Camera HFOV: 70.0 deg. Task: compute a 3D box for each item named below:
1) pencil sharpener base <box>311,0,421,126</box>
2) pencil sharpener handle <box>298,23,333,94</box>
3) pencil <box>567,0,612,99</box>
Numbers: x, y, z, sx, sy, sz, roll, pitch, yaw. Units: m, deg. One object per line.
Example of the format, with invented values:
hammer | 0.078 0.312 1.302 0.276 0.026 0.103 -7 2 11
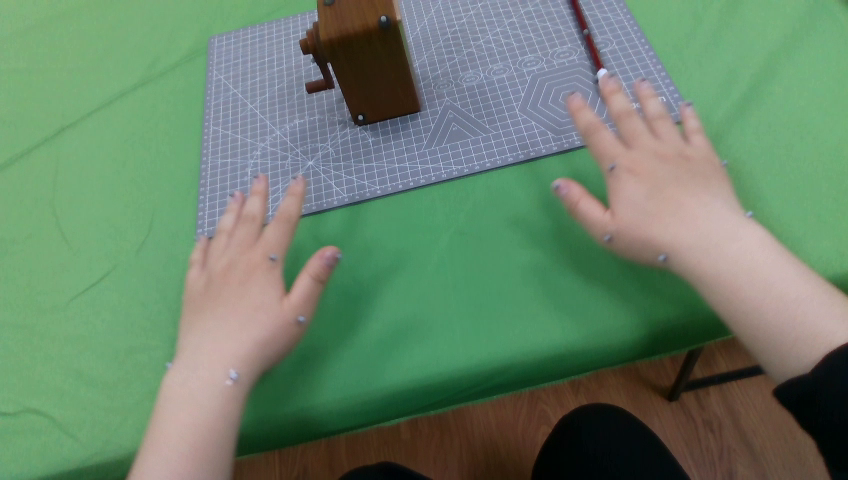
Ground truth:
pencil sharpener base | -0.052 -0.167 0.558 0.076 0.108 0.060 -14 55 3
pencil sharpener handle | -0.104 -0.161 0.551 0.030 0.068 0.035 -14 55 3
pencil | 0.158 -0.207 0.601 0.012 0.012 0.192 -10 54 6
